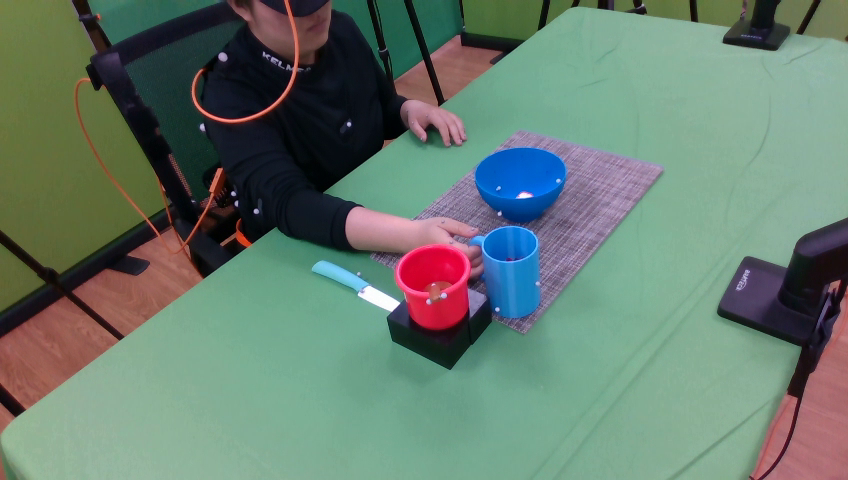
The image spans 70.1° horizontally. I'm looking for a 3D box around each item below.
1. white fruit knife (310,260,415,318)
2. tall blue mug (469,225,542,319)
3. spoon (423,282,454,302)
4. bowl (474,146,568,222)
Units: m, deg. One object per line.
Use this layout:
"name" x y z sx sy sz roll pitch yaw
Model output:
"white fruit knife" -0.094 0.074 0.920 0.206 0.016 0.027 24 77 30
"tall blue mug" 0.108 0.044 0.836 0.107 0.108 0.077 4 42 17
"spoon" 0.015 0.062 0.733 0.041 0.194 0.021 -5 86 3
"bowl" 0.161 -0.083 1.001 0.151 0.077 0.150 -5 40 5
